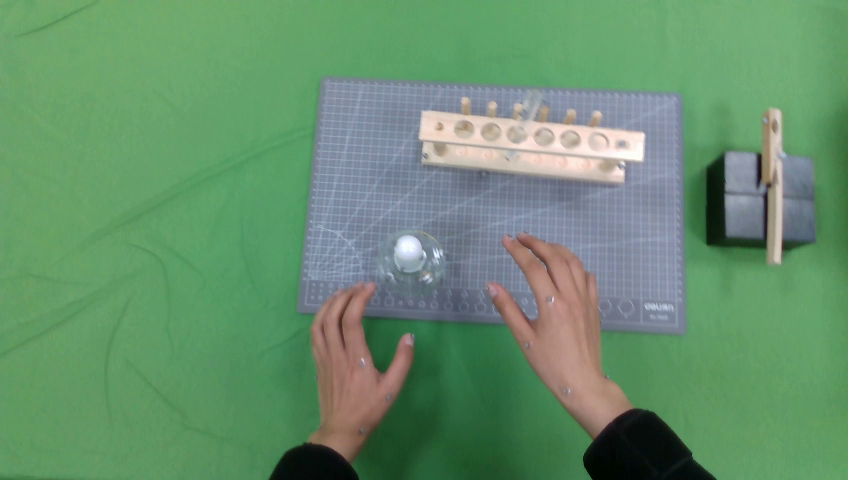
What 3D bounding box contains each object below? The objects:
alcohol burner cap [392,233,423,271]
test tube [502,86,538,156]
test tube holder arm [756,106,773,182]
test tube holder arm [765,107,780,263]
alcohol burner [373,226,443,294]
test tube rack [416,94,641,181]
[{"bbox_3d":[-0.019,0.011,0.624,0.034,0.048,0.033,-1,72,3],"label":"alcohol burner cap"},{"bbox_3d":[0.101,-0.123,0.649,0.017,0.151,0.017,0,76,-1],"label":"test tube"},{"bbox_3d":[0.383,-0.108,0.682,0.010,0.015,0.087,5,79,-6],"label":"test tube holder arm"},{"bbox_3d":[0.386,-0.063,0.674,0.013,0.015,0.177,4,79,-6],"label":"test tube holder arm"},{"bbox_3d":[-0.018,0.019,0.659,0.078,0.119,0.077,0,77,0],"label":"alcohol burner"},{"bbox_3d":[0.116,-0.123,0.700,0.242,0.085,0.066,6,79,2],"label":"test tube rack"}]
